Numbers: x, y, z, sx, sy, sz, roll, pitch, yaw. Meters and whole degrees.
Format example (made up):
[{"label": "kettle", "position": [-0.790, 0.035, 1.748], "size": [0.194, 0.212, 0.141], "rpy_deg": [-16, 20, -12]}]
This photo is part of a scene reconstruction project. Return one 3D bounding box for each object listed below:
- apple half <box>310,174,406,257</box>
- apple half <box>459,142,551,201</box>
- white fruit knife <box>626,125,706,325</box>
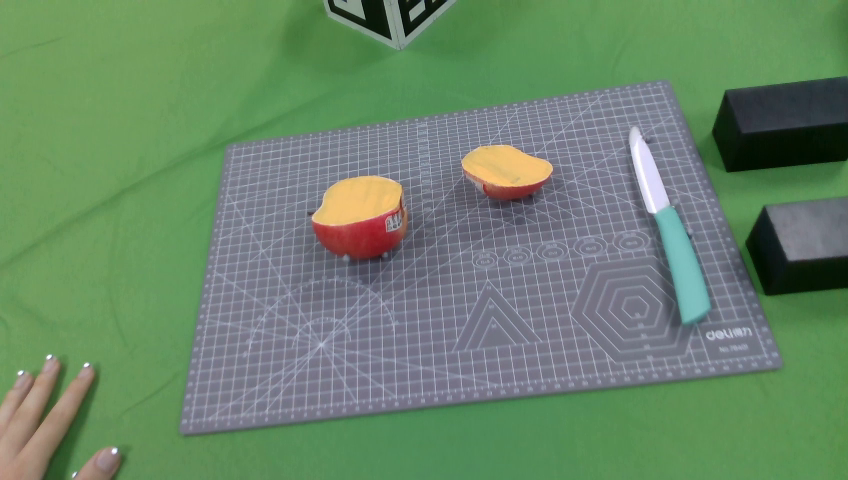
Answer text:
[{"label": "apple half", "position": [-0.051, -0.015, 0.516], "size": [0.074, 0.054, 0.080], "rpy_deg": [-8, 34, 9]}, {"label": "apple half", "position": [0.068, -0.053, 0.532], "size": [0.081, 0.033, 0.080], "rpy_deg": [0, 38, 0]}, {"label": "white fruit knife", "position": [0.197, -0.023, 0.504], "size": [0.027, 0.016, 0.205], "rpy_deg": [1, 56, -5]}]
